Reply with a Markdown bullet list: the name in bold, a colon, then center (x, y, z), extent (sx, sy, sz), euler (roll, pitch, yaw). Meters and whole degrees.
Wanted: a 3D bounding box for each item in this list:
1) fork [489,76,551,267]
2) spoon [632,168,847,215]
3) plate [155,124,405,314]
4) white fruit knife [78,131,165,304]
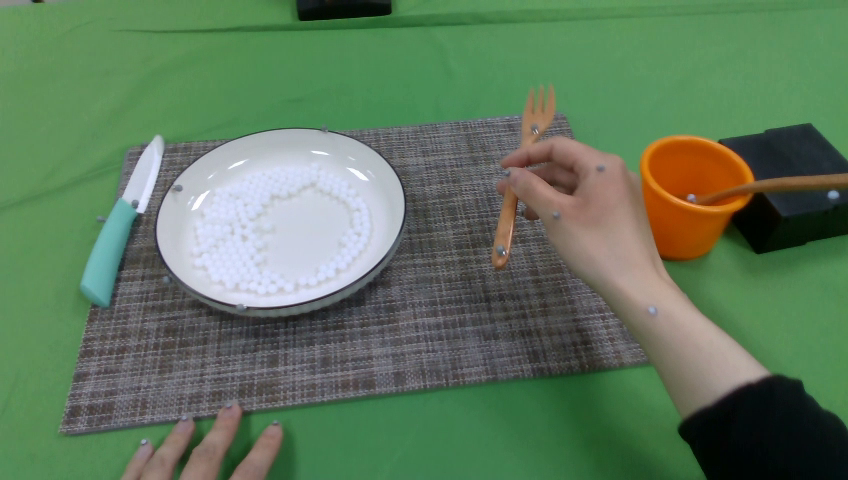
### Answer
- **fork**: center (0.075, -0.062, 0.476), extent (0.028, 0.019, 0.206), euler (-3, 47, 26)
- **spoon**: center (0.251, -0.040, 0.483), extent (0.041, 0.193, 0.022), euler (-35, 103, -30)
- **plate**: center (-0.119, -0.021, 0.524), extent (0.209, 0.038, 0.207), euler (1, 50, -1)
- **white fruit knife**: center (-0.266, -0.031, 0.545), extent (0.027, 0.016, 0.205), euler (20, 45, -22)
